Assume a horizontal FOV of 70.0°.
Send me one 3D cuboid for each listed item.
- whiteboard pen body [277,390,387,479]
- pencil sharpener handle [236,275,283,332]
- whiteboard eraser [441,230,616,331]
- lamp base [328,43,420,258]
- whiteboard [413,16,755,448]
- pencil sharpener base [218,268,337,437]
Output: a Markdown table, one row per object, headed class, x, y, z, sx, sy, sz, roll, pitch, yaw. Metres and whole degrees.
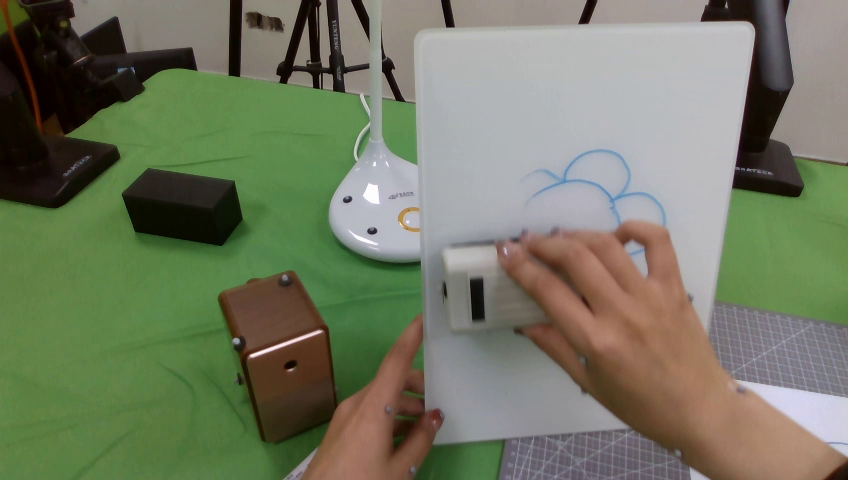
| class | x | y | z | sx | sy | sz | roll | pitch | yaw |
| --- | --- | --- | --- | --- | --- | --- | --- | --- | --- |
| whiteboard pen body | -0.077 | 0.158 | 0.446 | 0.017 | 0.017 | 0.140 | 27 | 43 | 27 |
| pencil sharpener handle | -0.133 | 0.046 | 0.491 | 0.036 | 0.068 | 0.030 | -24 | 46 | -16 |
| whiteboard eraser | 0.068 | 0.025 | 0.403 | 0.113 | 0.056 | 0.041 | -6 | 20 | -2 |
| lamp base | -0.032 | -0.100 | 0.632 | 0.161 | 0.182 | 0.177 | -22 | 43 | -26 |
| whiteboard | 0.100 | -0.013 | 0.484 | 0.217 | 0.307 | 0.143 | -3 | 21 | -4 |
| pencil sharpener base | -0.111 | 0.085 | 0.465 | 0.061 | 0.108 | 0.076 | -18 | 44 | -22 |
